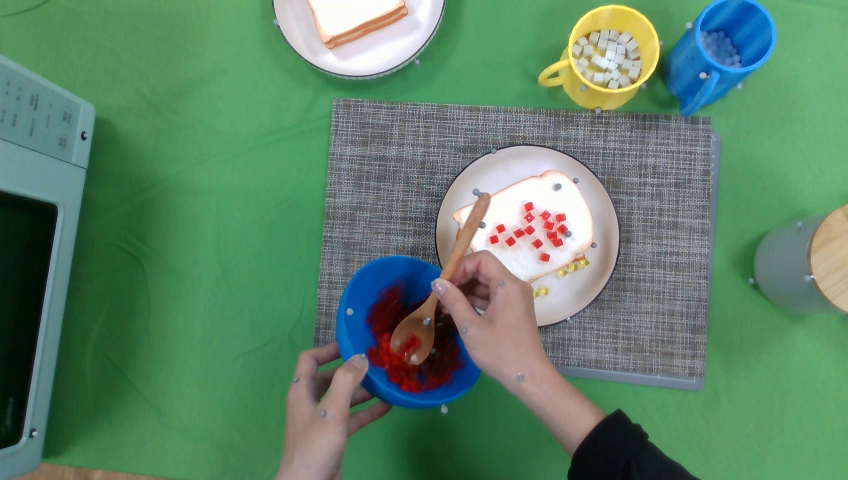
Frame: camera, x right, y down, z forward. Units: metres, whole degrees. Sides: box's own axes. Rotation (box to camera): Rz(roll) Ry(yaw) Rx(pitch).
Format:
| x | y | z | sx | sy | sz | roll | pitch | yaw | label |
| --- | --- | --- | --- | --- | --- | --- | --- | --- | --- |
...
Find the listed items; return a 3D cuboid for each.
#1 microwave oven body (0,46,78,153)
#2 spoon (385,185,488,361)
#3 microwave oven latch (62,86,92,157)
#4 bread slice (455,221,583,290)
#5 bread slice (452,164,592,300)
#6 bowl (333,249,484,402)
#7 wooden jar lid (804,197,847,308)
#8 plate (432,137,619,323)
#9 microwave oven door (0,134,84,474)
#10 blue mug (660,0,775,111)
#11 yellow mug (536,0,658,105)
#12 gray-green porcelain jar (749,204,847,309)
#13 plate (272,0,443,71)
| x | y | z | sx | sy | sz | roll | pitch | yaw | label |
| --- | --- | --- | --- | --- | --- | --- | --- | --- | --- |
| -0.588 | 0.010 | 0.613 | 0.326 | 0.260 | 0.441 | 7 | 87 | 3 | microwave oven body |
| 0.013 | 0.035 | 0.557 | 0.041 | 0.021 | 0.194 | 30 | 117 | 7 | spoon |
| -0.415 | -0.140 | 0.712 | 0.030 | 0.029 | 0.079 | 10 | 87 | 4 | microwave oven latch |
| 0.103 | -0.003 | 0.693 | 0.131 | 0.019 | 0.104 | -28 | 84 | -1 | bread slice |
| 0.107 | -0.018 | 0.631 | 0.134 | 0.018 | 0.107 | -31 | 91 | -7 | bread slice |
| -0.026 | 0.092 | 0.582 | 0.152 | 0.077 | 0.150 | 18 | 51 | -23 | bowl |
| 0.409 | 0.012 | 0.570 | 0.108 | 0.021 | 0.108 | 0 | 88 | 1 | wooden jar lid |
| 0.113 | -0.011 | 0.690 | 0.209 | 0.038 | 0.208 | 0 | 86 | 3 | plate |
| -0.449 | 0.069 | 0.597 | 0.039 | 0.244 | 0.355 | 6 | 86 | 4 | microwave oven door |
| 0.310 | -0.196 | 0.664 | 0.082 | 0.106 | 0.116 | 26 | 87 | 5 | blue mug |
| 0.191 | -0.208 | 0.691 | 0.131 | 0.064 | 0.099 | -16 | 84 | 3 | yellow mug |
| 0.414 | 0.019 | 0.632 | 0.106 | 0.127 | 0.105 | 0 | 86 | 3 | gray-green porcelain jar |
| -0.077 | -0.301 | 0.726 | 0.207 | 0.039 | 0.207 | 0 | 86 | 3 | plate |
